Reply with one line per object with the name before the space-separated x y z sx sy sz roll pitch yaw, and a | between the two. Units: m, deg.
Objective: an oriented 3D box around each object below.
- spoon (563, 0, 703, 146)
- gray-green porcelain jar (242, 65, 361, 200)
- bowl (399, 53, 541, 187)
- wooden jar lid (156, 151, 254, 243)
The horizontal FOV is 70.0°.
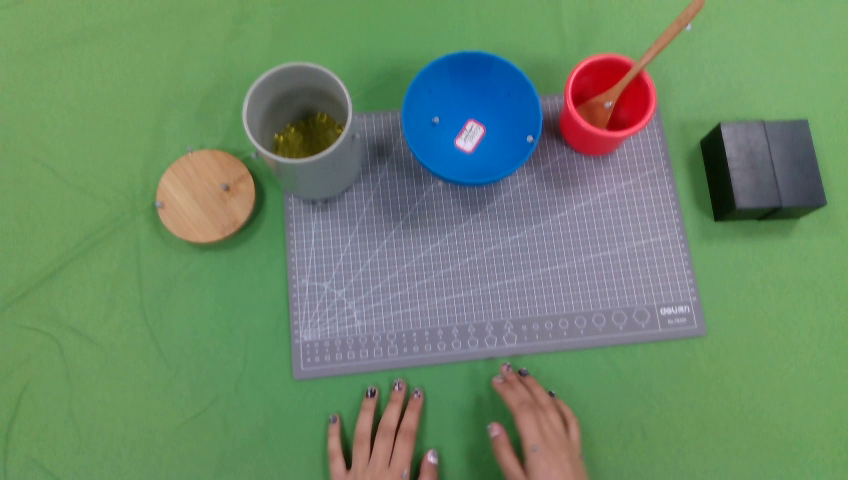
spoon | 0.224 -0.177 0.657 0.041 0.021 0.194 49 124 11
gray-green porcelain jar | -0.123 -0.106 0.642 0.106 0.127 0.105 0 76 -1
bowl | 0.048 -0.121 0.674 0.151 0.077 0.150 0 76 -1
wooden jar lid | -0.245 -0.048 0.684 0.108 0.021 0.108 0 76 0
